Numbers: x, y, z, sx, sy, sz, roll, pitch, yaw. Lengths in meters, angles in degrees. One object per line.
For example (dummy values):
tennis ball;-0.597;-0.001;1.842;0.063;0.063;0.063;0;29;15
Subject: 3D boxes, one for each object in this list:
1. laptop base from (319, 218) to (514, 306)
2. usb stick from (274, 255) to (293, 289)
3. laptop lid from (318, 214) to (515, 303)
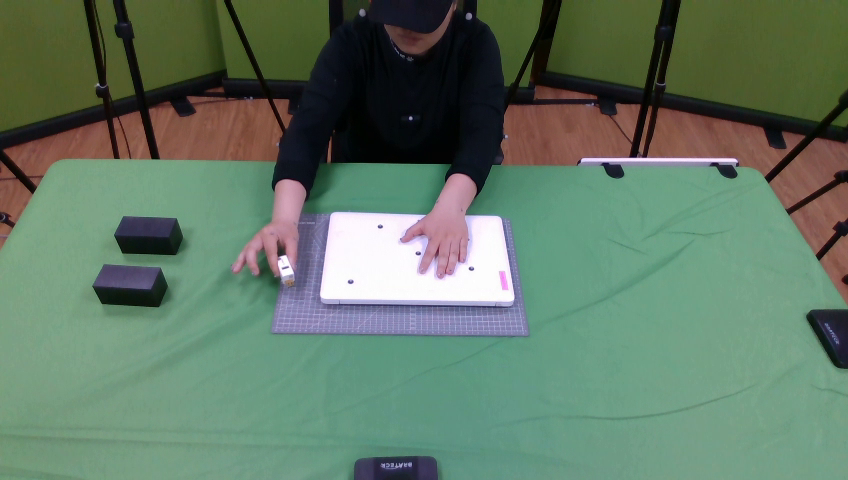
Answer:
laptop base;-0.015;0.037;1.162;0.354;0.023;0.234;1;42;-3
usb stick;-0.249;0.059;1.082;0.021;0.027;0.059;-15;61;-21
laptop lid;-0.014;0.029;1.157;0.357;0.013;0.240;3;43;-2
